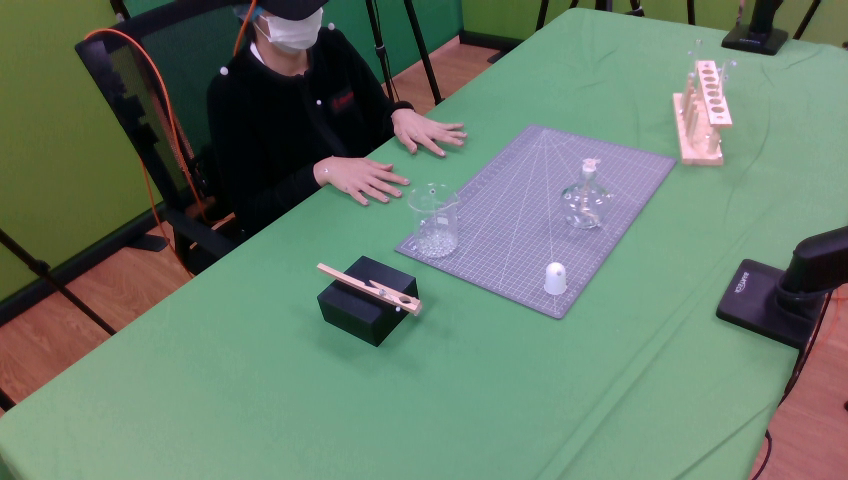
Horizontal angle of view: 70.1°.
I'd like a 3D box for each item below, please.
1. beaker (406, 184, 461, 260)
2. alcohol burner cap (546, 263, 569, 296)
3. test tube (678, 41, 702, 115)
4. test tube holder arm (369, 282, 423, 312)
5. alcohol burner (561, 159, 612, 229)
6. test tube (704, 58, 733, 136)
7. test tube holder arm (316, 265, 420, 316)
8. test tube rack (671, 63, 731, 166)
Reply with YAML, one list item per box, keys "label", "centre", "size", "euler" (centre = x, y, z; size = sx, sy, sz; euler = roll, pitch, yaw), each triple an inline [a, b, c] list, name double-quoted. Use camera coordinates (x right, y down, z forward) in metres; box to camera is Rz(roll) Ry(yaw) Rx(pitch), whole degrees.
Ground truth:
- label: "beaker"
  centre: [0.019, -0.026, 0.939]
  size: [0.084, 0.101, 0.074]
  euler: [1, 41, 10]
- label: "alcohol burner cap"
  centre: [0.191, 0.053, 0.862]
  size: [0.034, 0.048, 0.033]
  euler: [-5, 40, 4]
- label: "test tube"
  centre: [0.500, -0.303, 1.138]
  size: [0.017, 0.151, 0.017]
  euler: [-4, 42, 4]
- label: "test tube holder arm"
  centre: [-0.040, 0.076, 0.817]
  size: [0.087, 0.015, 0.010]
  euler: [18, 56, 28]
- label: "alcohol burner"
  centre: [0.257, -0.077, 0.951]
  size: [0.078, 0.119, 0.077]
  euler: [-3, 40, 3]
- label: "test tube"
  centre: [0.516, -0.247, 1.062]
  size: [0.017, 0.151, 0.017]
  euler: [-3, 43, 4]
- label: "test tube holder arm"
  centre: [-0.081, 0.068, 0.836]
  size: [0.177, 0.015, 0.013]
  euler: [18, 55, 28]
- label: "test tube rack"
  centre: [0.513, -0.240, 1.132]
  size: [0.066, 0.085, 0.242]
  euler: [3, 41, 14]
